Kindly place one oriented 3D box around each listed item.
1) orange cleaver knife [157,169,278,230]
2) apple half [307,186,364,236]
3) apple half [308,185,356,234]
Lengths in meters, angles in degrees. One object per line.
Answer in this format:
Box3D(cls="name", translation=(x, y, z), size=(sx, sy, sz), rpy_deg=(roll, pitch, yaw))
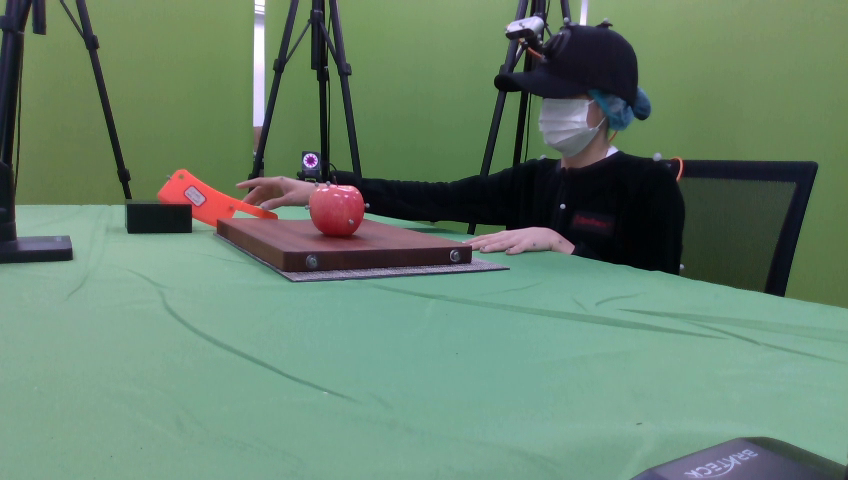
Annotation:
Box3D(cls="orange cleaver knife", translation=(-0.377, -0.061, 1.116), size=(0.212, 0.077, 0.012), rpy_deg=(25, -7, -28))
Box3D(cls="apple half", translation=(-0.123, -0.041, 0.874), size=(0.081, 0.074, 0.053), rpy_deg=(4, 9, -32))
Box3D(cls="apple half", translation=(-0.143, -0.047, 0.907), size=(0.082, 0.081, 0.032), rpy_deg=(-1, 12, -31))
